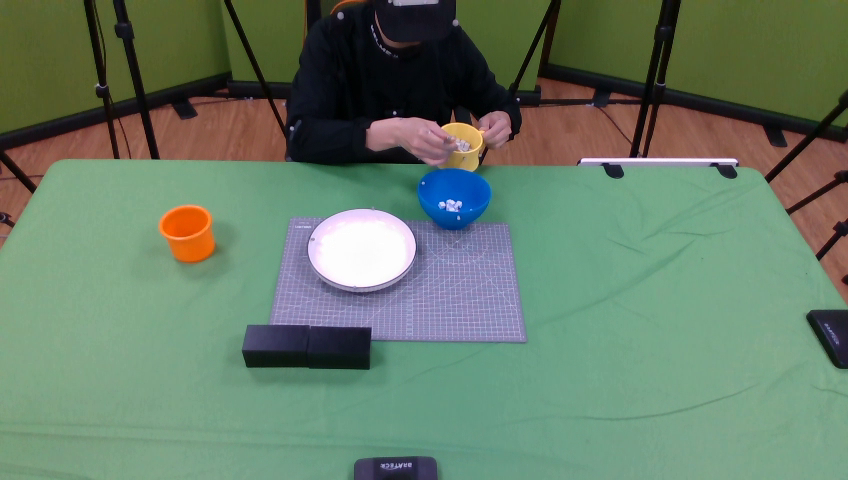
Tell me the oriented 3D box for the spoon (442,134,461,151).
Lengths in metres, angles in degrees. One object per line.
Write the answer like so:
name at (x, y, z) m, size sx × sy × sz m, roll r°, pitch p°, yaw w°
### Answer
spoon at (0.058, -0.194, 1.244) m, size 0.041 × 0.194 × 0.021 m, roll 9°, pitch 86°, yaw 14°

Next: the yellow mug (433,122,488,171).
yellow mug at (0.085, -0.204, 1.317) m, size 0.131 × 0.064 × 0.099 m, roll -25°, pitch 56°, yaw -26°

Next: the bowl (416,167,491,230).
bowl at (0.057, -0.074, 1.231) m, size 0.151 × 0.077 × 0.150 m, roll 2°, pitch 42°, yaw -2°

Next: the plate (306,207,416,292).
plate at (-0.119, 0.021, 1.153) m, size 0.209 × 0.038 × 0.208 m, roll 2°, pitch 46°, yaw -2°
